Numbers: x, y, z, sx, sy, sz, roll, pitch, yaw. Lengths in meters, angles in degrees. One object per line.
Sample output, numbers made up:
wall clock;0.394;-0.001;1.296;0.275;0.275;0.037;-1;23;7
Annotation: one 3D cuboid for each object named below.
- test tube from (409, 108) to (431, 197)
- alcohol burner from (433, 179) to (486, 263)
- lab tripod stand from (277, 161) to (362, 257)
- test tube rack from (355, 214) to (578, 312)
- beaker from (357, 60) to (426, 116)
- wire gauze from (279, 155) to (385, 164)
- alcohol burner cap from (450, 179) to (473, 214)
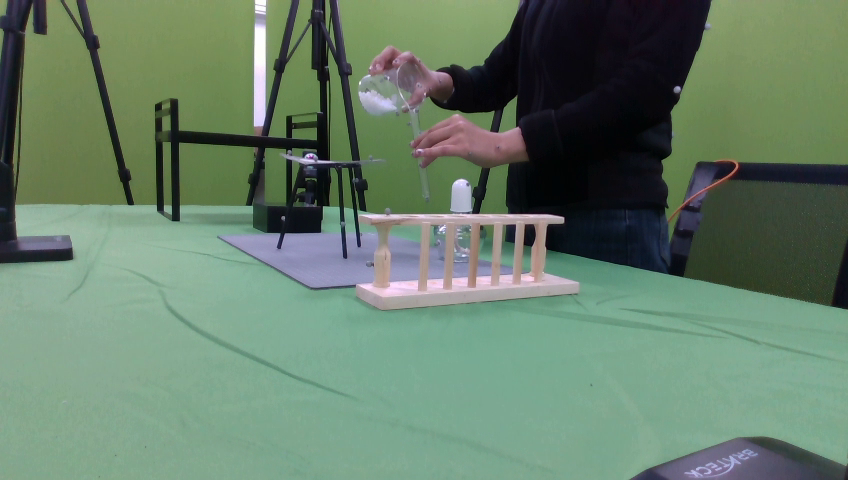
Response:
test tube;-0.007;-0.143;0.989;0.017;0.150;0.017;-9;-7;-1
alcohol burner;0.051;-0.027;0.862;0.078;0.119;0.078;1;6;0
lab tripod stand;-0.142;-0.049;0.884;0.148;0.131;0.148;1;9;0
test tube rack;0.053;0.018;0.640;0.243;0.085;0.066;-1;9;-29
beaker;-0.057;-0.251;1.026;0.100;0.084;0.074;-4;4;40
wire gauze;-0.134;-0.114;0.875;0.122;0.011;0.124;-1;8;-30
alcohol burner cap;0.053;-0.063;0.859;0.034;0.048;0.034;0;15;0
